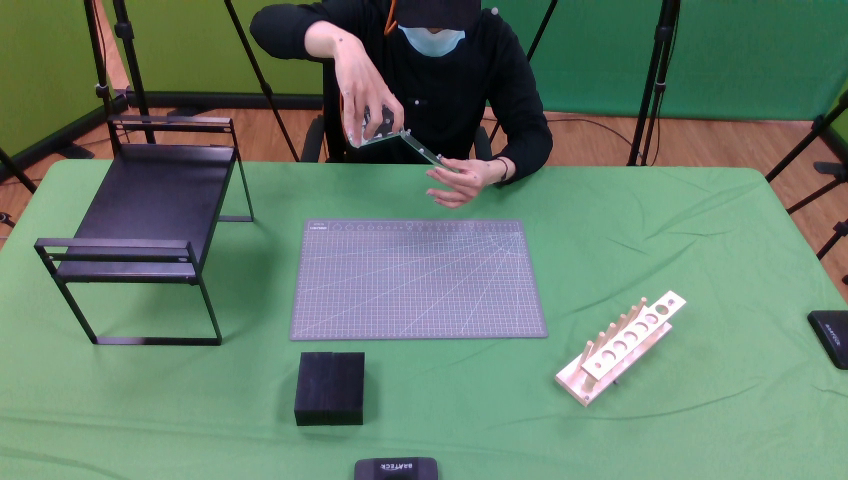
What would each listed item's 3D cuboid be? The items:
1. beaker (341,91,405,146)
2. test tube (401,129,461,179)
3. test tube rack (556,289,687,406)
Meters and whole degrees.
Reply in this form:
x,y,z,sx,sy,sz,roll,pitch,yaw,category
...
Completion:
x,y,z,sx,sy,sz,roll,pitch,yaw,category
-0.090,-0.210,1.072,0.100,0.084,0.073,-14,40,2,beaker
0.016,-0.158,1.131,0.151,0.017,0.017,35,37,-31,test tube
0.332,0.165,1.014,0.242,0.085,0.066,-31,55,-28,test tube rack
